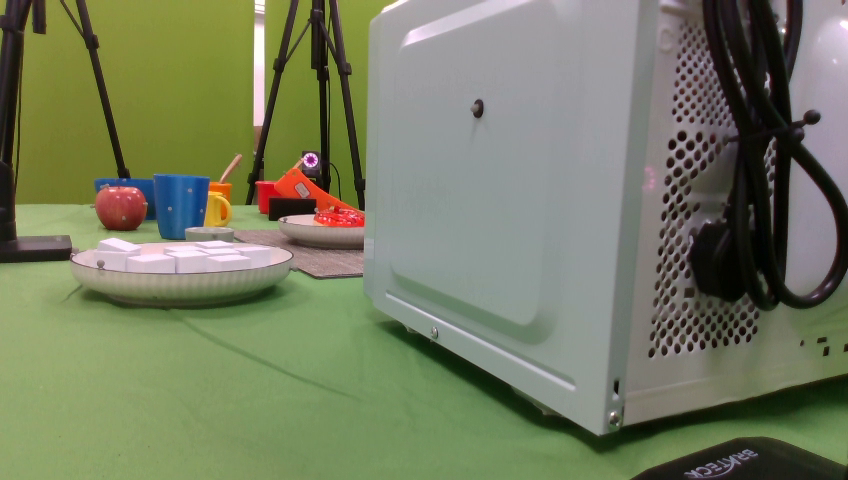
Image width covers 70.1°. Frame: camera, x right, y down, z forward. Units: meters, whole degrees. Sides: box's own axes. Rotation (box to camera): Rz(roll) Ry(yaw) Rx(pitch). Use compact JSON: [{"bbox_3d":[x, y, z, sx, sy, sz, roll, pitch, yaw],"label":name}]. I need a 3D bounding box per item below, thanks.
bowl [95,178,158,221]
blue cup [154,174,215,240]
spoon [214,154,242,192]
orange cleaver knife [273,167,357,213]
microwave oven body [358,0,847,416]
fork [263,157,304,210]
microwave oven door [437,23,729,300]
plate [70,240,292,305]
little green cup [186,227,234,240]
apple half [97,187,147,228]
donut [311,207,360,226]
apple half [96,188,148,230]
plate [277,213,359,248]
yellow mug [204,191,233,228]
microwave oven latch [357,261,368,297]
[{"bbox_3d":[-0.576,-0.081,1.217,0.151,0.077,0.151,3,8,0],"label":"bowl"},{"bbox_3d":[-0.391,-0.053,0.978,0.093,0.100,0.092,4,6,0],"label":"blue cup"},{"bbox_3d":[-0.439,-0.124,1.318,0.041,0.193,0.022,5,-36,16],"label":"spoon"},{"bbox_3d":[-0.238,-0.091,1.381,0.212,0.077,0.012,31,0,-19],"label":"orange cleaver knife"},{"bbox_3d":[0.211,-0.047,0.474,0.444,0.260,0.324,-1,7,-28],"label":"microwave oven body"},{"bbox_3d":[-0.345,-0.143,1.505,0.028,0.019,0.207,-4,46,29],"label":"fork"},{"bbox_3d":[0.181,-0.072,0.621,0.358,0.243,0.039,-2,9,-29],"label":"microwave oven door"},{"bbox_3d":[-0.242,0.031,0.618,0.208,0.039,0.207,2,8,0],"label":"plate"},{"bbox_3d":[-0.285,0.005,0.805,0.061,0.038,0.061,2,8,0],"label":"little green cup"},{"bbox_3d":[-0.534,-0.059,1.071,0.082,0.081,0.032,-1,11,-25],"label":"apple half"},{"bbox_3d":[-0.137,-0.029,0.995,0.099,0.048,0.099,4,9,0],"label":"donut"},{"bbox_3d":[-0.517,-0.052,1.036,0.081,0.074,0.053,3,10,-26],"label":"apple half"},{"bbox_3d":[-0.135,-0.017,0.992,0.209,0.038,0.209,3,8,0],"label":"plate"},{"bbox_3d":[-0.415,-0.057,1.131,0.130,0.064,0.100,6,7,16],"label":"yellow mug"},{"bbox_3d":[-0.019,0.033,0.530,0.079,0.029,0.030,-1,7,-27],"label":"microwave oven latch"}]
